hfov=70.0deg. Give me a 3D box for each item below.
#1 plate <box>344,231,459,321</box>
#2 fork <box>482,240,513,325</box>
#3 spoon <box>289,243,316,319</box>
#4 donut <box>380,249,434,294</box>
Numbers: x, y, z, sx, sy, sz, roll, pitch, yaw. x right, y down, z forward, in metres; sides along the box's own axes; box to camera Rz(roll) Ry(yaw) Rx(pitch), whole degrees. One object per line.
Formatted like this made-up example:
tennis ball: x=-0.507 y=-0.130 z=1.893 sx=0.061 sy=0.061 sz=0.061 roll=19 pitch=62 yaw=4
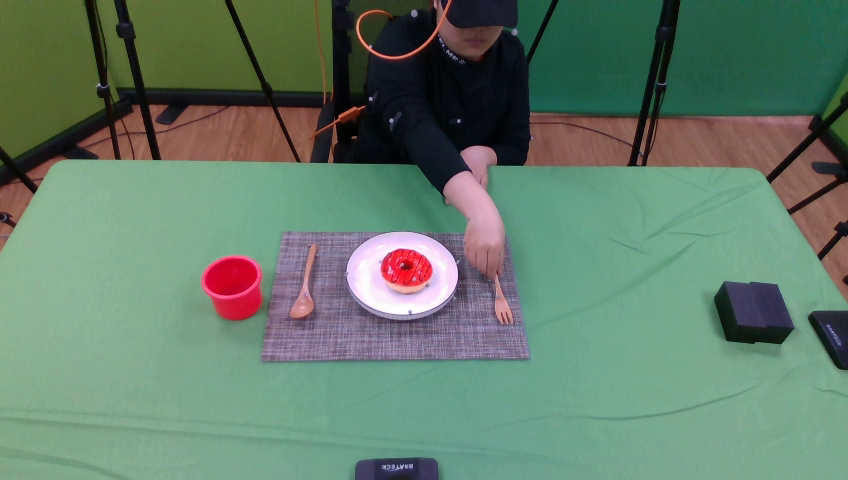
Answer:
plate: x=-0.042 y=0.068 z=1.115 sx=0.209 sy=0.038 sz=0.208 roll=2 pitch=46 yaw=-2
fork: x=0.133 y=0.076 z=1.131 sx=0.028 sy=0.019 sz=0.206 roll=-8 pitch=50 yaw=-2
spoon: x=-0.215 y=0.071 z=1.108 sx=0.041 sy=0.022 sz=0.192 roll=-10 pitch=45 yaw=10
donut: x=-0.032 y=0.056 z=1.111 sx=0.099 sy=0.048 sz=0.098 roll=3 pitch=43 yaw=-3
